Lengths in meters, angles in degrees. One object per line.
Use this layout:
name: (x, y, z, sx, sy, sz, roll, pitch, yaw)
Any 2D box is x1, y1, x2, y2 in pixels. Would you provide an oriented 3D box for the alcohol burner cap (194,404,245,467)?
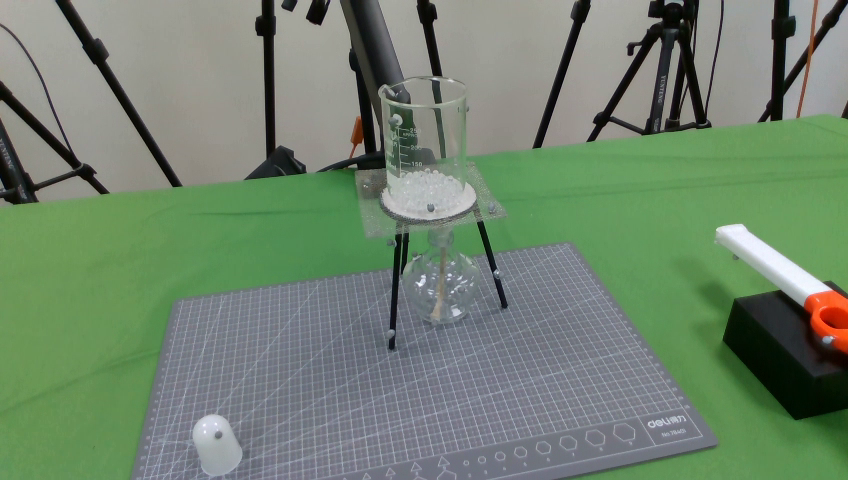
alcohol burner cap: (-0.160, 0.147, 0.468, 0.034, 0.048, 0.033, -1, 35, 1)

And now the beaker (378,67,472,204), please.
beaker: (-0.001, -0.089, 0.519, 0.074, 0.101, 0.083, -30, 42, -36)

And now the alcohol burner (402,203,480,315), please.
alcohol burner: (0.016, 0.014, 0.589, 0.078, 0.120, 0.077, -1, 36, 1)

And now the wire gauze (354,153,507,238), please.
wire gauze: (0.001, -0.047, 0.546, 0.121, 0.011, 0.123, -8, 36, -7)

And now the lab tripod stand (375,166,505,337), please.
lab tripod stand: (0.008, 0.005, 0.586, 0.148, 0.132, 0.147, -1, 33, 1)

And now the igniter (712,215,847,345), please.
igniter: (0.340, 0.050, 0.513, 0.057, 0.025, 0.273, -9, 31, -9)
